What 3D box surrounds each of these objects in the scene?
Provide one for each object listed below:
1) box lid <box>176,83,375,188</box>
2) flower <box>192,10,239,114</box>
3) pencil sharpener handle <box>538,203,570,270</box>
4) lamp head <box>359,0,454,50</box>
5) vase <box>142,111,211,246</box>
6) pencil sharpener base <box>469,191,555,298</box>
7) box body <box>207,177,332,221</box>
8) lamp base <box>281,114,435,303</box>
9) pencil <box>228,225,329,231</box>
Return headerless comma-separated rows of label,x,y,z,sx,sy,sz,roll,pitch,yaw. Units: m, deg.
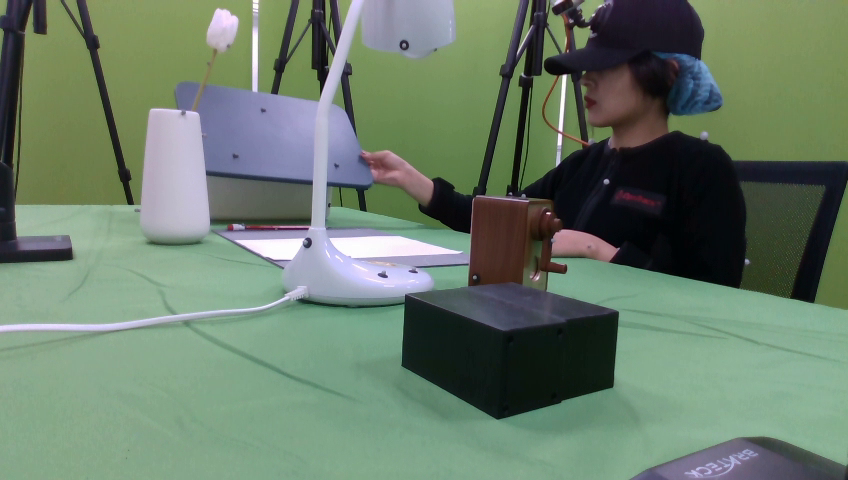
box lid,-0.293,-0.209,1.227,0.373,0.015,0.262,1,49,-33
flower,-0.353,-0.174,0.915,0.038,0.361,0.044,17,-4,12
pencil sharpener handle,0.137,-0.003,0.619,0.030,0.067,0.036,8,4,38
lamp head,-0.024,-0.283,0.674,0.112,0.123,0.112,-3,38,3
vase,-0.378,-0.093,0.920,0.098,0.200,0.098,2,9,0
pencil sharpener base,0.097,0.003,0.652,0.076,0.107,0.061,8,9,38
box body,-0.413,-0.134,1.379,0.366,0.160,0.253,-2,9,-31
lamp base,-0.071,-0.035,0.614,0.160,0.180,0.180,6,10,27
pencil,-0.266,-0.023,1.125,0.195,0.012,0.012,-1,8,-33
